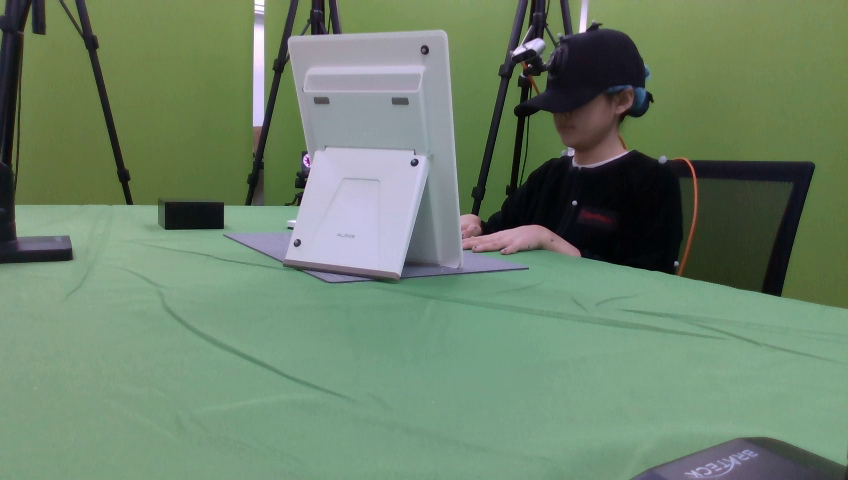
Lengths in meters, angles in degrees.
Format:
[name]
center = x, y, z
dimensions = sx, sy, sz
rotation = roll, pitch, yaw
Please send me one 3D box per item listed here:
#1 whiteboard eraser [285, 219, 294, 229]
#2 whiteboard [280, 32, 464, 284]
[whiteboard eraser]
center = -0.227, -0.032, 1.203
dimensions = 0.102, 0.019, 0.041
rotation = 0, 7, -33
[whiteboard]
center = -0.087, -0.080, 0.728
dimensions = 0.216, 0.305, 0.144
rotation = 7, 28, 24
